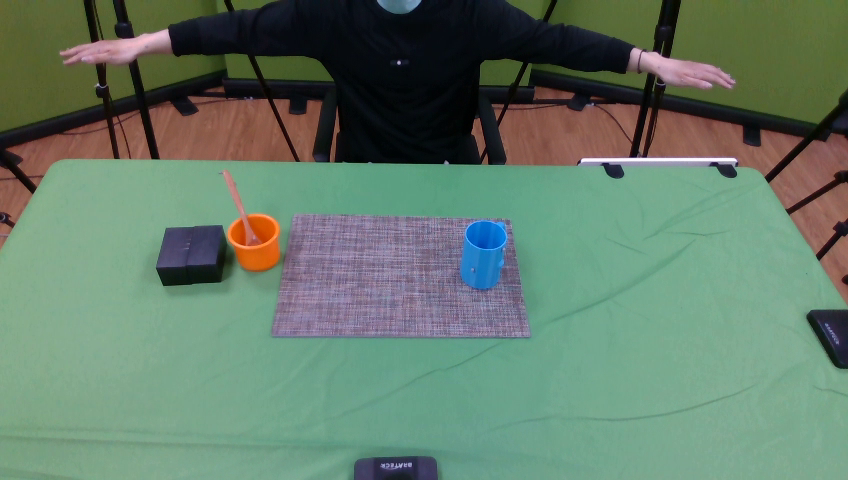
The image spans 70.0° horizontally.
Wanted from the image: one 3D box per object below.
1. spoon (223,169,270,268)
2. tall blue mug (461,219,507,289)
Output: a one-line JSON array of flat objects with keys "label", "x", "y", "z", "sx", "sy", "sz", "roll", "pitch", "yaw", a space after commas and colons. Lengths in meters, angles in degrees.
[{"label": "spoon", "x": -0.333, "y": -0.040, "z": 1.124, "sx": 0.041, "sy": 0.194, "sz": 0.021, "roll": -20, "pitch": 7, "yaw": -18}, {"label": "tall blue mug", "x": 0.111, "y": 0.016, "z": 1.122, "sx": 0.078, "sy": 0.108, "sz": 0.106, "roll": 6, "pitch": 46, "yaw": 4}]
